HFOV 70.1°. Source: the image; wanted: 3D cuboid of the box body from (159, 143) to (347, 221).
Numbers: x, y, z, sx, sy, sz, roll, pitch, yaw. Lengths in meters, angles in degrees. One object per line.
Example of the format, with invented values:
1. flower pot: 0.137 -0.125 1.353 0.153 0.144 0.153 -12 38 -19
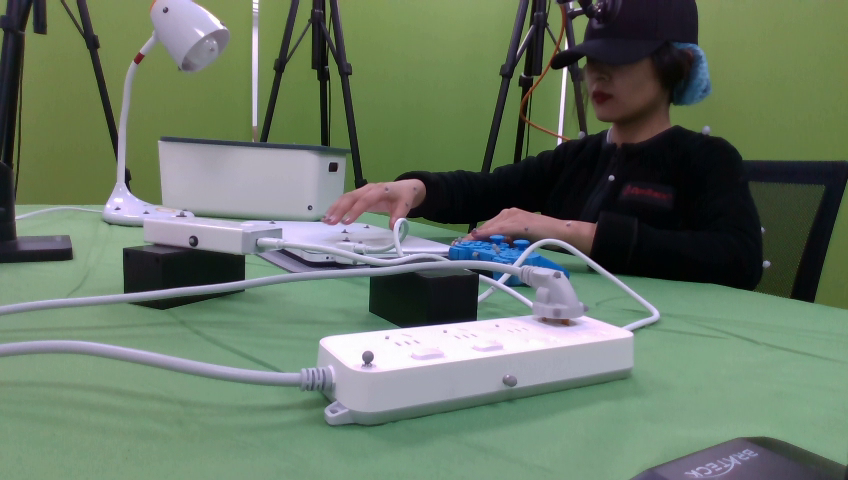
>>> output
1. box body: -0.384 -0.137 1.406 0.364 0.160 0.254 3 8 7

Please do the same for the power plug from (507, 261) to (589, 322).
1. power plug: 0.091 0.043 0.444 0.035 0.052 0.072 -1 5 -18

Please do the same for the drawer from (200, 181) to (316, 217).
1. drawer: -0.372 -0.097 1.393 0.212 0.073 0.194 1 9 6

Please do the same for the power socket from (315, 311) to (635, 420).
1. power socket: 0.039 0.072 0.385 0.228 0.032 0.072 -2 7 -29

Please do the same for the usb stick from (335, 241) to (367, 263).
1. usb stick: -0.093 0.015 0.742 0.021 0.027 0.059 -4 0 -34

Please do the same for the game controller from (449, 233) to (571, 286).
1. game controller: 0.101 0.021 0.760 0.097 0.051 0.154 -7 10 -30

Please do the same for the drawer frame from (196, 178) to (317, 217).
1. drawer frame: -0.376 -0.101 1.393 0.213 0.082 0.202 1 8 6

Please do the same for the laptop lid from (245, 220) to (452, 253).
1. laptop lid: -0.124 -0.009 0.945 0.243 0.013 0.355 1 7 -29

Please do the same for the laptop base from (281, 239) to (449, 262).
1. laptop base: -0.126 0.003 0.945 0.237 0.023 0.352 2 6 -31

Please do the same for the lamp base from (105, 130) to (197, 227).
1. lamp base: -0.532 -0.120 1.153 0.179 0.180 0.161 1 7 8

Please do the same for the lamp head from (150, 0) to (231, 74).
1. lamp head: -0.432 -0.374 1.086 0.123 0.112 0.112 42 8 -2

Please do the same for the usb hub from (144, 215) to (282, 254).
1. usb hub: -0.200 -0.006 0.573 0.125 0.025 0.050 6 7 23

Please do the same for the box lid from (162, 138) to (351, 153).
1. box lid: -0.371 -0.215 1.394 0.371 0.015 0.263 4 8 7
